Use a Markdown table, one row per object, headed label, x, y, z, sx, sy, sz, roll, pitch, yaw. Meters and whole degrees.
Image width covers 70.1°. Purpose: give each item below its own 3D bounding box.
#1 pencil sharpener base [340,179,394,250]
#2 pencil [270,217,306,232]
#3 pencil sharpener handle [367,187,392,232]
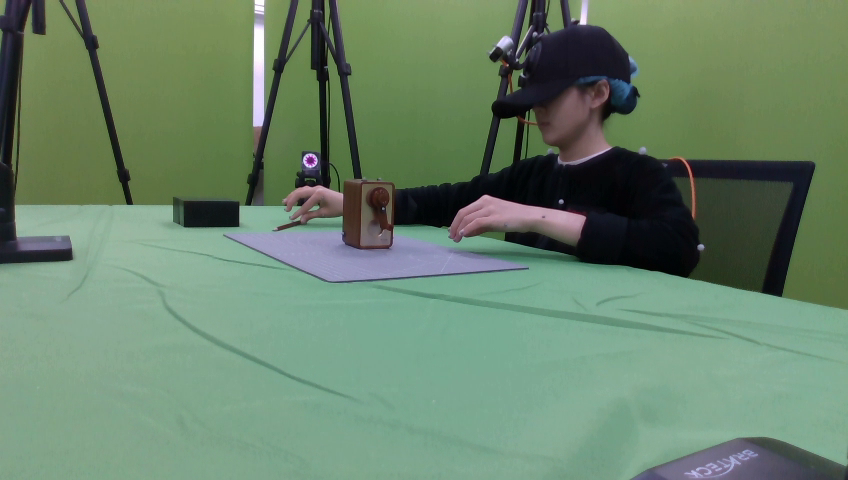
| label | x | y | z | sx | sy | sz | roll | pitch | yaw |
| --- | --- | --- | --- | --- | --- | --- | --- | --- | --- |
| pencil sharpener base | -0.091 | -0.041 | 0.959 | 0.061 | 0.107 | 0.076 | -1 | 9 | -30 |
| pencil | -0.271 | -0.030 | 1.212 | 0.012 | 0.012 | 0.194 | 4 | 9 | 7 |
| pencil sharpener handle | -0.062 | -0.046 | 0.915 | 0.036 | 0.068 | 0.030 | -13 | 15 | -28 |
